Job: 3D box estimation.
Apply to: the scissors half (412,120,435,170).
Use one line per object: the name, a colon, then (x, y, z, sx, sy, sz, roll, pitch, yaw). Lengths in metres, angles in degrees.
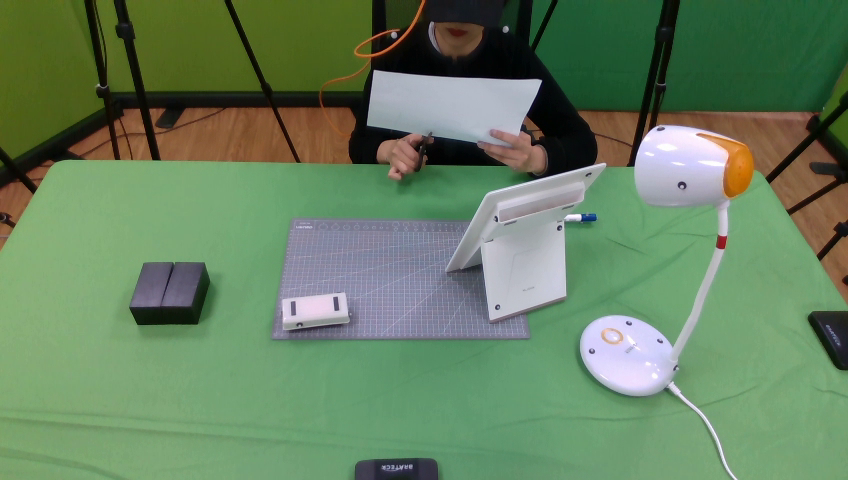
scissors half: (0.000, -0.194, 1.246, 0.013, 0.175, 0.040, 4, 63, -14)

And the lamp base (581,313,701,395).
lamp base: (0.361, 0.144, 0.973, 0.178, 0.181, 0.160, 34, 53, 23)

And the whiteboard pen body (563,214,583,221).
whiteboard pen body: (0.283, -0.047, 1.257, 0.141, 0.017, 0.017, -1, 46, -2)

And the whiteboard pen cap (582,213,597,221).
whiteboard pen cap: (0.342, -0.048, 1.260, 0.033, 0.018, 0.018, -2, 46, -3)

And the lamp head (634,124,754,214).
lamp head: (0.351, -0.089, 0.775, 0.112, 0.113, 0.122, -30, 30, -28)

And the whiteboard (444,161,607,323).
whiteboard: (0.186, 0.025, 1.029, 0.217, 0.306, 0.143, -14, 68, -18)

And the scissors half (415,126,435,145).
scissors half: (0.003, -0.217, 1.250, 0.013, 0.040, 0.174, 9, 6, -13)

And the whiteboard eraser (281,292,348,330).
whiteboard eraser: (-0.189, 0.124, 1.045, 0.113, 0.042, 0.055, -6, 46, -10)
